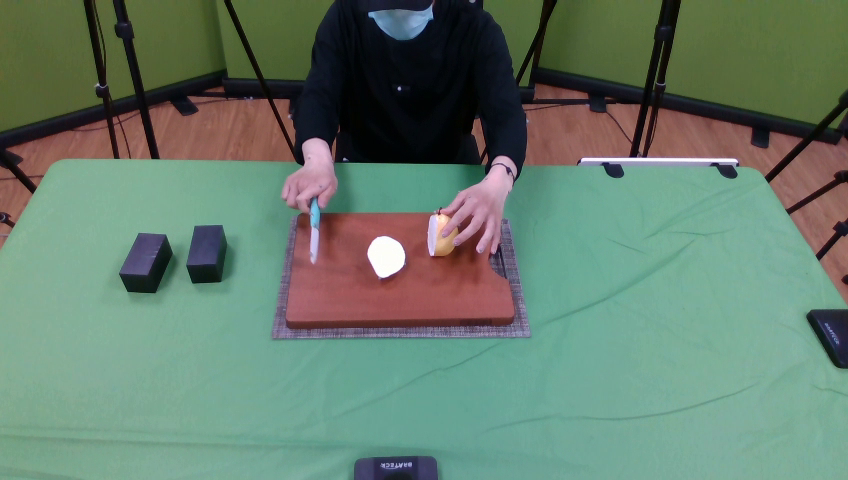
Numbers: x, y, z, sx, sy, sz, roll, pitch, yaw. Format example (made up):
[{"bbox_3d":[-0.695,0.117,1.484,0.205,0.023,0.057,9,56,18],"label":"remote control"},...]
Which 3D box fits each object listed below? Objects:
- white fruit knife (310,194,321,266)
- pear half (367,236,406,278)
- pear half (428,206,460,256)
[{"bbox_3d":[-0.200,-0.023,1.113,0.016,0.027,0.206,-23,39,11],"label":"white fruit knife"},{"bbox_3d":[-0.072,0.036,1.106,0.070,0.031,0.087,19,58,-6],"label":"pear half"},{"bbox_3d":[0.039,-0.022,1.118,0.056,0.110,0.076,-8,50,-12],"label":"pear half"}]
